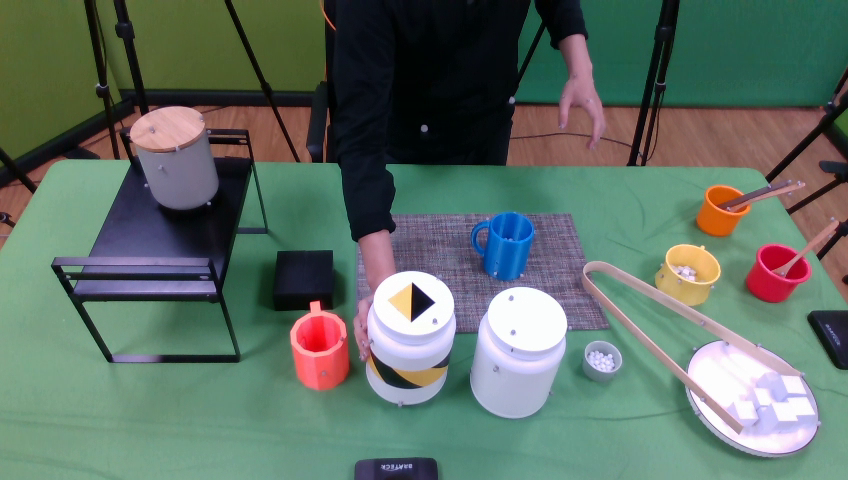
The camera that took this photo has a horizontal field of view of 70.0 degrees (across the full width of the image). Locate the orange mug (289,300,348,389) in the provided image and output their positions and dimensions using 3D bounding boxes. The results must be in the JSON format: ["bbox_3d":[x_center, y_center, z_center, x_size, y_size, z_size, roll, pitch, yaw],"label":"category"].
[{"bbox_3d":[-0.170,0.162,0.976,0.083,0.101,0.125,-8,52,-12],"label":"orange mug"}]

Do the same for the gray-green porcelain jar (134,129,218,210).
[{"bbox_3d":[-0.388,-0.120,0.960,0.106,0.127,0.105,2,46,-2],"label":"gray-green porcelain jar"}]

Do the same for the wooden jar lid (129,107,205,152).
[{"bbox_3d":[-0.385,-0.163,0.915,0.108,0.021,0.107,2,47,-2],"label":"wooden jar lid"}]

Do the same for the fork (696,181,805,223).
[{"bbox_3d":[0.659,-0.077,1.232,0.207,0.019,0.028,-26,35,34],"label":"fork"}]

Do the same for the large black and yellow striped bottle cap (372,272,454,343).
[{"bbox_3d":[-0.015,0.092,0.852,0.115,0.019,0.114,3,46,-3],"label":"large black and yellow striped bottle cap"}]

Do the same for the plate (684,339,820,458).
[{"bbox_3d":[0.523,0.256,0.982,0.208,0.039,0.206,2,46,-2],"label":"plate"}]

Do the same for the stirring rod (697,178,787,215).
[{"bbox_3d":[0.650,-0.088,1.246,0.006,0.176,0.014,29,50,-39],"label":"stirring rod"}]

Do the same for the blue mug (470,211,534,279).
[{"bbox_3d":[0.141,0.005,1.140,0.116,0.106,0.082,18,48,13],"label":"blue mug"}]

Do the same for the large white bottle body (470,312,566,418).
[{"bbox_3d":[0.143,0.173,0.930,0.131,0.185,0.130,2,46,-2],"label":"large white bottle body"}]

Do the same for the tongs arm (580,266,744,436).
[{"bbox_3d":[0.384,0.174,1.029,0.028,0.028,0.385,-26,46,-14],"label":"tongs arm"}]

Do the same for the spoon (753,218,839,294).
[{"bbox_3d":[0.700,0.031,1.138,0.194,0.022,0.041,-47,55,14],"label":"spoon"}]

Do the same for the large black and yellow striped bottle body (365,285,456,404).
[{"bbox_3d":[-0.022,0.149,0.914,0.131,0.185,0.130,4,46,-4],"label":"large black and yellow striped bottle body"}]

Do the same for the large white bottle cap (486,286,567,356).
[{"bbox_3d":[0.147,0.114,0.869,0.115,0.018,0.114,3,46,-3],"label":"large white bottle cap"}]

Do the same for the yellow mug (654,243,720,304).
[{"bbox_3d":[0.504,0.054,1.154,0.099,0.064,0.130,28,50,22],"label":"yellow mug"}]

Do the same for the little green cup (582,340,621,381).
[{"bbox_3d":[0.295,0.204,1.015,0.061,0.039,0.061,2,45,-2],"label":"little green cup"}]

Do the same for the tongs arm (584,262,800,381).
[{"bbox_3d":[0.452,0.137,1.064,0.051,0.027,0.382,-34,50,-26],"label":"tongs arm"}]
